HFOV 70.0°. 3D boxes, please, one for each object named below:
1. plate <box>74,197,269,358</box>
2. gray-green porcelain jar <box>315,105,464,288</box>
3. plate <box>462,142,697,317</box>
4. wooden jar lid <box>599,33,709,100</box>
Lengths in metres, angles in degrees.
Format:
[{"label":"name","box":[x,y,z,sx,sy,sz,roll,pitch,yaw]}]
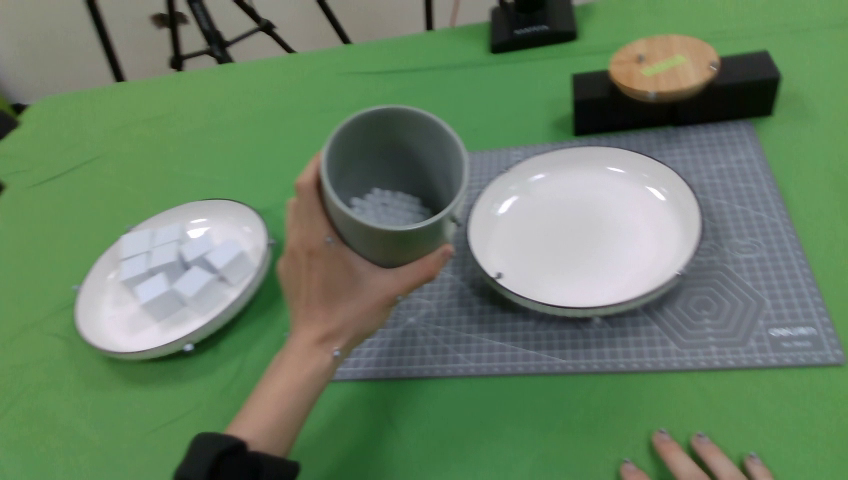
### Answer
[{"label":"plate","box":[-0.260,0.039,0.643,0.207,0.039,0.205,-8,46,9]},{"label":"gray-green porcelain jar","box":[-0.029,-0.026,0.478,0.106,0.127,0.105,3,65,-5]},{"label":"plate","box":[0.140,-0.011,0.565,0.209,0.038,0.207,-9,46,10]},{"label":"wooden jar lid","box":[0.242,-0.183,0.642,0.108,0.021,0.107,-8,47,9]}]
